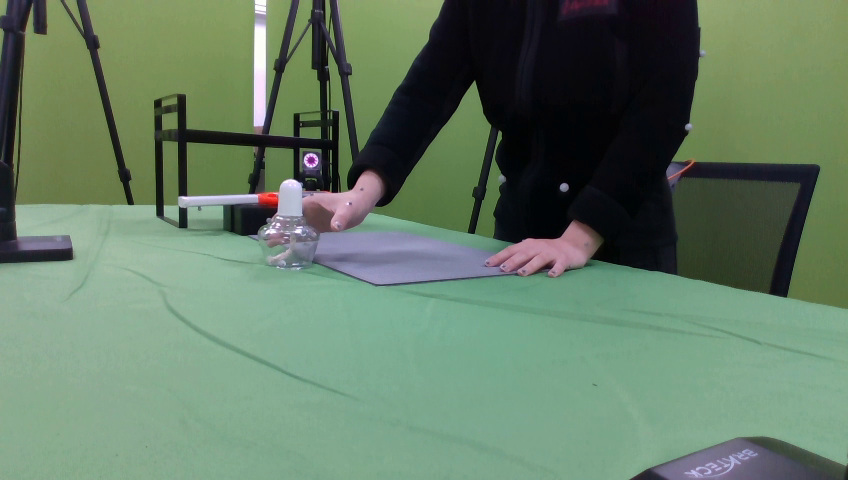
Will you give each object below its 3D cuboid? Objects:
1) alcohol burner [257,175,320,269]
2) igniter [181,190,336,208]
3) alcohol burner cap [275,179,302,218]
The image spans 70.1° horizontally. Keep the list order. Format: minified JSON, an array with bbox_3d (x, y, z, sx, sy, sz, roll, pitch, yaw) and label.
[{"bbox_3d":[-0.170,-0.023,0.762,0.078,0.119,0.078,3,9,0],"label":"alcohol burner"},{"bbox_3d":[-0.294,-0.075,1.103,0.278,0.025,0.057,-5,12,-32],"label":"igniter"},{"bbox_3d":[-0.169,-0.053,0.759,0.034,0.048,0.034,4,9,0],"label":"alcohol burner cap"}]
